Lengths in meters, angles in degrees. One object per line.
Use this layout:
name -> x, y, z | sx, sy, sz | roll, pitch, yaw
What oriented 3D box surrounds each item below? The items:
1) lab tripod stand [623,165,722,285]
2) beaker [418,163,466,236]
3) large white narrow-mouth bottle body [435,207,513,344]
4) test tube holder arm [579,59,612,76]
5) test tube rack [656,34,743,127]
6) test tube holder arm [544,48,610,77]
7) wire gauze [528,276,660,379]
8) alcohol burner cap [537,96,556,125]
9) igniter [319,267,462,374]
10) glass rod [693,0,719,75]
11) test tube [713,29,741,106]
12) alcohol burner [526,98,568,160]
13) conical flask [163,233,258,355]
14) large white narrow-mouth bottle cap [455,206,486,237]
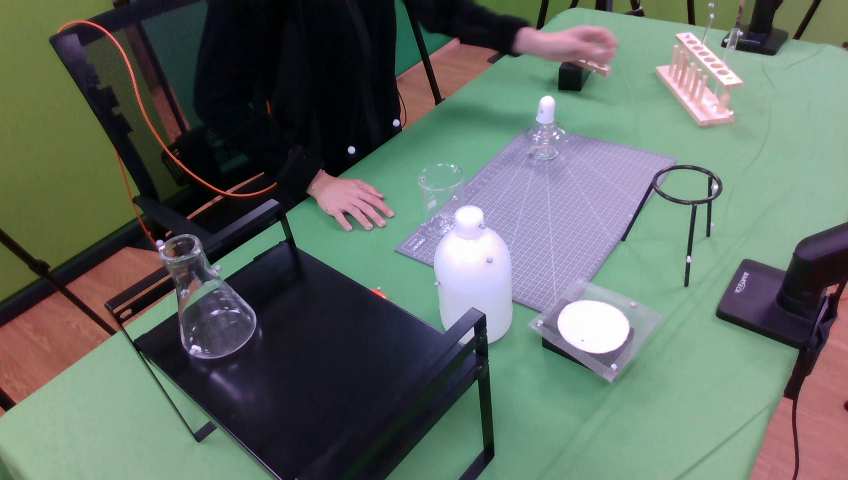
lab tripod stand -> 0.365, -0.030, 0.875 | 0.148, 0.132, 0.147 | -6, 41, 6
beaker -> 0.035, -0.065, 0.990 | 0.073, 0.101, 0.084 | 24, 49, 32
large white narrow-mouth bottle body -> 0.065, 0.041, 0.791 | 0.102, 0.195, 0.101 | -4, 41, 4
test tube holder arm -> 0.362, -0.368, 1.289 | 0.010, 0.015, 0.087 | -24, 43, -32
test tube rack -> 0.553, -0.331, 1.233 | 0.067, 0.085, 0.241 | -7, 40, 2
test tube holder arm -> 0.330, -0.387, 1.314 | 0.013, 0.015, 0.177 | -24, 43, -32
wire gauze -> 0.213, 0.103, 0.763 | 0.124, 0.011, 0.122 | 30, 52, 35
alcohol burner cap -> 0.223, -0.237, 1.095 | 0.034, 0.048, 0.033 | -1, 42, 1
igniter -> -0.059, 0.107, 0.862 | 0.274, 0.025, 0.057 | 28, 62, 34
glass rod -> 0.561, -0.401, 1.214 | 0.008, 0.200, 0.008 | -1, 48, 2
test tube -> 0.572, -0.324, 1.146 | 0.017, 0.151, 0.017 | -3, 39, 3
alcohol burner -> 0.228, -0.210, 1.118 | 0.078, 0.119, 0.077 | -5, 43, 5
conical flask -> -0.217, 0.051, 0.601 | 0.075, 0.122, 0.075 | -4, 40, 4
large white narrow-mouth bottle cap -> 0.057, -0.023, 0.734 | 0.038, 0.024, 0.037 | -4, 40, 4
